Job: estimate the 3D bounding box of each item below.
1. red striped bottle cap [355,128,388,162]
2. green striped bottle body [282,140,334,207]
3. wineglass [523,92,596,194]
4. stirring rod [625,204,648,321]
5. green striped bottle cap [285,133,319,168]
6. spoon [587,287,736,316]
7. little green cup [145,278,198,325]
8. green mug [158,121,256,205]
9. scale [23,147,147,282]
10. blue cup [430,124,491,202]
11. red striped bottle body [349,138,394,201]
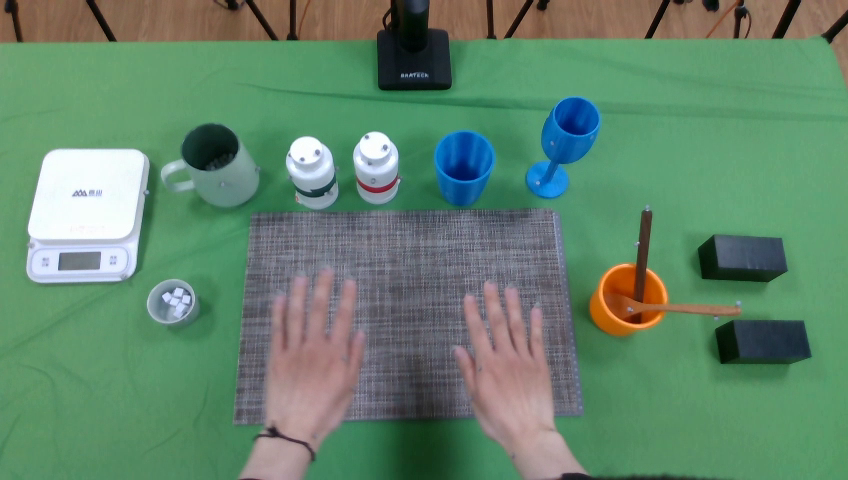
[{"bbox_3d":[-0.071,-0.128,0.815,0.044,0.018,0.044,1,71,-2],"label":"red striped bottle cap"},{"bbox_3d":[-0.163,-0.099,0.855,0.063,0.120,0.062,1,68,-2],"label":"green striped bottle body"},{"bbox_3d":[0.187,-0.132,0.858,0.074,0.173,0.073,1,68,-2],"label":"wineglass"},{"bbox_3d":[0.283,0.035,0.811,0.014,0.177,0.006,3,27,12],"label":"stirring rod"},{"bbox_3d":[-0.162,-0.120,0.807,0.044,0.020,0.044,1,68,-3],"label":"green striped bottle cap"},{"bbox_3d":[0.304,0.083,0.793,0.022,0.192,0.041,25,71,-40],"label":"spoon"},{"bbox_3d":[-0.337,0.085,0.816,0.061,0.039,0.061,2,68,-4],"label":"little green cup"},{"bbox_3d":[-0.309,-0.102,0.857,0.125,0.105,0.092,-22,71,-11],"label":"green mug"},{"bbox_3d":[-0.481,-0.040,0.862,0.149,0.032,0.199,-1,69,-3],"label":"scale"},{"bbox_3d":[0.050,-0.102,0.878,0.092,0.101,0.092,0,68,0],"label":"blue cup"},{"bbox_3d":[-0.074,-0.108,0.864,0.063,0.120,0.062,1,68,-3],"label":"red striped bottle body"}]
